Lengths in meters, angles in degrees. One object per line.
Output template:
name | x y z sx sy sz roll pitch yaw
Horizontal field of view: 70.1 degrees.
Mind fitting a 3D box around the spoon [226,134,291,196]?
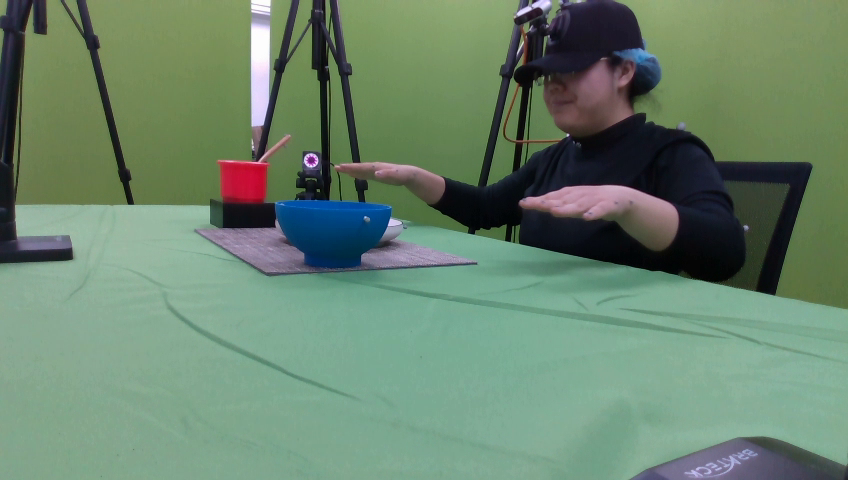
spoon | -0.320 -0.149 1.187 0.041 0.022 0.194 8 53 36

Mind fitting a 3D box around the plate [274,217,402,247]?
plate | -0.140 -0.015 0.993 0.208 0.039 0.207 3 7 0

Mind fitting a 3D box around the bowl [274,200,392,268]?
bowl | -0.117 -0.008 0.781 0.151 0.077 0.151 3 7 0
